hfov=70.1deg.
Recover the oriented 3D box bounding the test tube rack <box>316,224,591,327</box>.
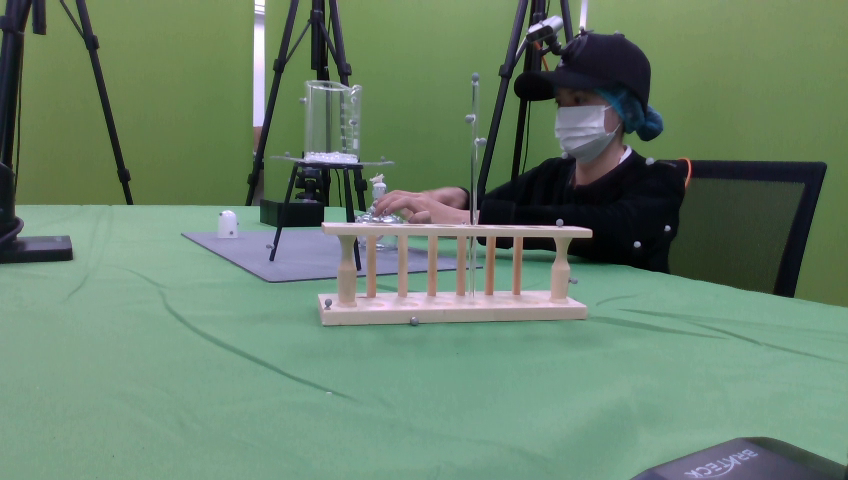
[{"bbox_3d":[0.026,0.028,0.555,0.243,0.085,0.066,1,7,-14],"label":"test tube rack"}]

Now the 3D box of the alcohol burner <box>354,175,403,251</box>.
[{"bbox_3d":[-0.072,-0.042,0.944,0.078,0.119,0.078,1,9,0],"label":"alcohol burner"}]

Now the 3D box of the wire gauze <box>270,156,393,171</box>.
[{"bbox_3d":[-0.122,-0.100,0.786,0.122,0.011,0.124,-5,14,-38],"label":"wire gauze"}]

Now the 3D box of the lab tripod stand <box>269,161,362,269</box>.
[{"bbox_3d":[-0.125,-0.036,0.794,0.148,0.131,0.148,5,7,0],"label":"lab tripod stand"}]

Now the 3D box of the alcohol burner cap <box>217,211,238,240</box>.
[{"bbox_3d":[-0.323,-0.024,0.994,0.034,0.048,0.034,3,8,0],"label":"alcohol burner cap"}]

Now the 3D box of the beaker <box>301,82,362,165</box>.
[{"bbox_3d":[-0.117,-0.147,0.776,0.074,0.100,0.083,-3,10,-38],"label":"beaker"}]

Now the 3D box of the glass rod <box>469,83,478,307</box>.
[{"bbox_3d":[0.042,-0.033,0.523,0.008,0.199,0.008,-1,14,0],"label":"glass rod"}]
